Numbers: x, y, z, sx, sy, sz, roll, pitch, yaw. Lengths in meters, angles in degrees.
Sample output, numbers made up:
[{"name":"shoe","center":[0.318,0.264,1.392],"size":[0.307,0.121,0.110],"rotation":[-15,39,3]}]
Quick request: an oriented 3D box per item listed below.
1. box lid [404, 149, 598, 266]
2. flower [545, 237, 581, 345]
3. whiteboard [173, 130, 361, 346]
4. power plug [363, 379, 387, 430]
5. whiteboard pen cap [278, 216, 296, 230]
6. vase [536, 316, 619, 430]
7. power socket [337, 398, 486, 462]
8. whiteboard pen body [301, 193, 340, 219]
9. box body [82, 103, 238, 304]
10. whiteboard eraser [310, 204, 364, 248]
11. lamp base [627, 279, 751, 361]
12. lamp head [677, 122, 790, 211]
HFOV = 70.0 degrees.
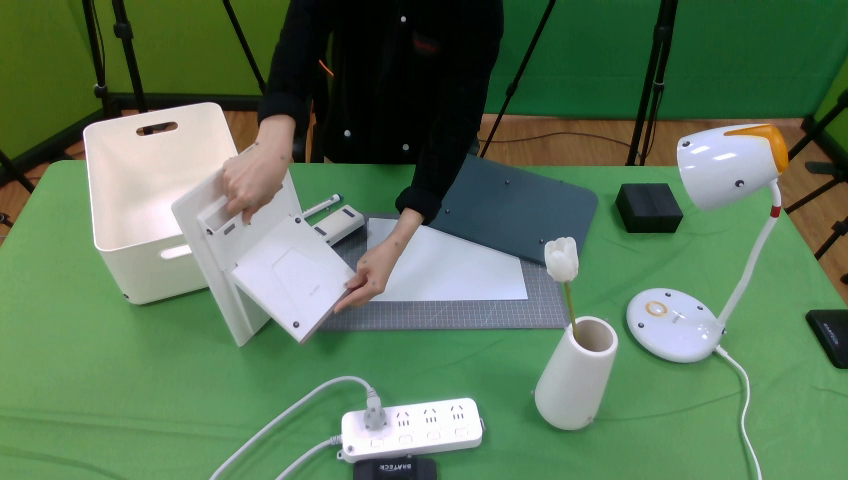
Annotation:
[{"name":"box lid","center":[0.171,-0.073,1.289],"size":[0.371,0.015,0.262],"rotation":[19,47,14]},{"name":"flower","center":[0.213,0.137,0.846],"size":[0.038,0.364,0.044],"rotation":[21,55,40]},{"name":"whiteboard","center":[-0.216,0.022,0.954],"size":[0.143,0.307,0.216],"rotation":[19,47,26]},{"name":"power plug","center":[-0.071,0.252,0.911],"size":[0.035,0.053,0.072],"rotation":[3,40,0]},{"name":"whiteboard pen cap","center":[-0.273,-0.034,1.213],"size":[0.033,0.018,0.018],"rotation":[-32,56,-31]},{"name":"vase","center":[0.229,0.200,0.901],"size":[0.098,0.201,0.097],"rotation":[3,46,-3]},{"name":"power socket","center":[-0.018,0.285,0.914],"size":[0.227,0.033,0.071],"rotation":[-4,46,-8]},{"name":"whiteboard pen body","center":[-0.231,-0.061,1.243],"size":[0.141,0.017,0.017],"rotation":[-32,56,-30]},{"name":"box body","center":[-0.465,-0.076,1.137],"size":[0.254,0.161,0.361],"rotation":[-16,50,-19]},{"name":"whiteboard eraser","center":[-0.175,-0.022,1.188],"size":[0.055,0.042,0.112],"rotation":[36,53,26]},{"name":"lamp base","center":[0.460,0.100,1.027],"size":[0.178,0.181,0.160],"rotation":[27,51,17]},{"name":"lamp head","center":[0.424,-0.104,0.819],"size":[0.122,0.113,0.112],"rotation":[-13,33,40]}]
